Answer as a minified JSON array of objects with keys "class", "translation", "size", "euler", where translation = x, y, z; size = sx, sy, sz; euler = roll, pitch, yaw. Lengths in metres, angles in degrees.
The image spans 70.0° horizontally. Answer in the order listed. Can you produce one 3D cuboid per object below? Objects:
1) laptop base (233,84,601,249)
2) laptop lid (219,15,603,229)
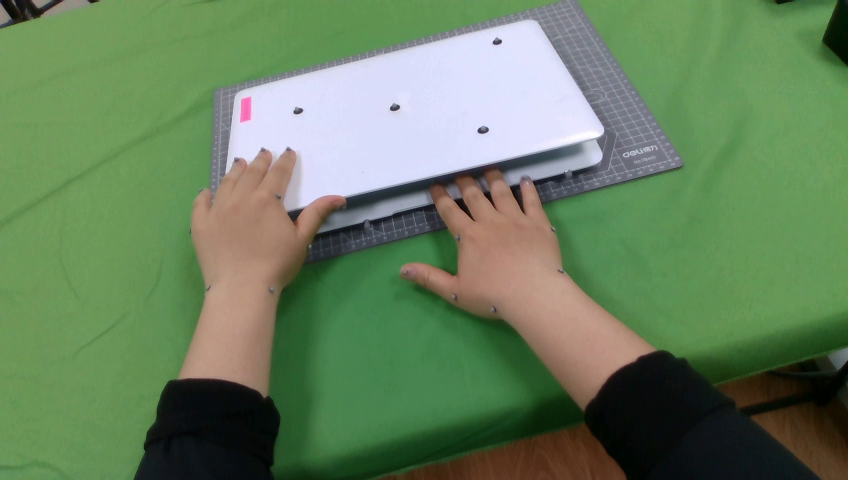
[{"class":"laptop base","translation":[-0.025,-0.118,0.629],"size":[0.354,0.023,0.233],"euler":[-14,55,1]},{"class":"laptop lid","translation":[-0.029,-0.132,0.608],"size":[0.357,0.013,0.239],"euler":[-13,46,2]}]
